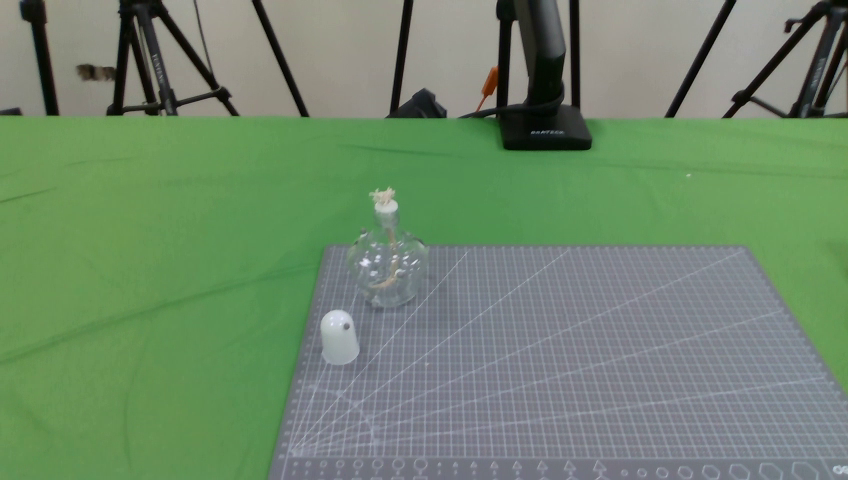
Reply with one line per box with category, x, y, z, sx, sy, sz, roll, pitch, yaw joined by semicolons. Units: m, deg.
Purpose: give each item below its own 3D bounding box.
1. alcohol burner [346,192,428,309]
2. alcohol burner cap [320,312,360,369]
alcohol burner;-0.034;0.005;0.556;0.078;0.120;0.077;1;39;0
alcohol burner cap;-0.072;0.082;0.514;0.034;0.048;0.033;0;37;0
